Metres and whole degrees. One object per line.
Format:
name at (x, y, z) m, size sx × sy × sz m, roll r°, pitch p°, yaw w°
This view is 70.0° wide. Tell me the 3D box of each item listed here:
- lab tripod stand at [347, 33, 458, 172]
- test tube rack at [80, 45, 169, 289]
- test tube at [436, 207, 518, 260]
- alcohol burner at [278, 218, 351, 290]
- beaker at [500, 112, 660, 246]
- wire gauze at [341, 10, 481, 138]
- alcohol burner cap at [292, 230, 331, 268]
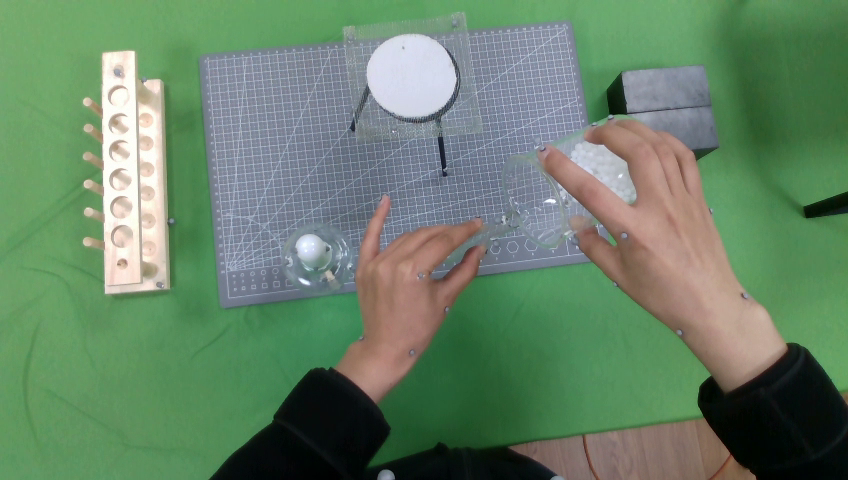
lab tripod stand at (-0.014, -0.154, 0.652) m, size 0.148 × 0.132 × 0.148 m, roll 1°, pitch 80°, yaw -3°
test tube rack at (-0.325, -0.074, 0.647) m, size 0.067 × 0.085 × 0.241 m, roll -5°, pitch 82°, yaw -4°
test tube at (0.043, -0.003, 0.548) m, size 0.017 × 0.150 × 0.017 m, roll 5°, pitch 75°, yaw -20°
alcohol burner at (-0.116, 0.012, 0.632) m, size 0.078 × 0.119 × 0.077 m, roll 1°, pitch 81°, yaw -5°
beaker at (0.118, -0.048, 0.458) m, size 0.100 × 0.084 × 0.073 m, roll -24°, pitch 81°, yaw -18°
wire gauze at (-0.013, -0.160, 0.586) m, size 0.125 × 0.011 × 0.121 m, roll -6°, pitch 83°, yaw -5°
alcohol burner cap at (-0.113, 0.008, 0.597) m, size 0.034 × 0.048 × 0.033 m, roll 0°, pitch 76°, yaw 2°
